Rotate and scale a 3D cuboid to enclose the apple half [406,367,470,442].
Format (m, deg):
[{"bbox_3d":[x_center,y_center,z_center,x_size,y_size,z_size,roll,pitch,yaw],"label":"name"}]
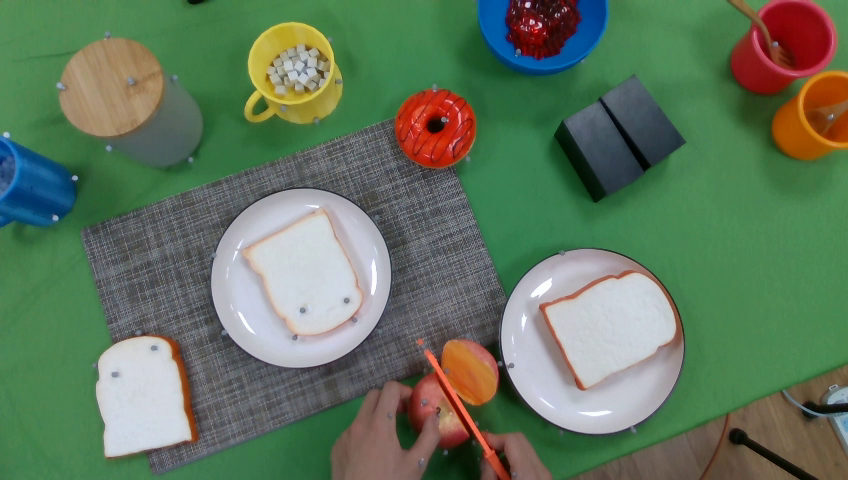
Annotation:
[{"bbox_3d":[0.009,0.186,0.667,0.053,0.075,0.080,-32,86,1],"label":"apple half"}]

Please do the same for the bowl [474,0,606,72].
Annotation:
[{"bbox_3d":[0.133,-0.264,0.727,0.151,0.077,0.151,0,82,0],"label":"bowl"}]

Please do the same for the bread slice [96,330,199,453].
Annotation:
[{"bbox_3d":[-0.323,0.170,0.694,0.105,0.019,0.131,-13,83,-2],"label":"bread slice"}]

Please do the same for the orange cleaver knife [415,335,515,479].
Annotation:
[{"bbox_3d":[0.050,0.195,0.662,0.012,0.077,0.211,-32,91,-8],"label":"orange cleaver knife"}]

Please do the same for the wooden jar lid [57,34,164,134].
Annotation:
[{"bbox_3d":[-0.321,-0.159,0.627,0.108,0.021,0.108,0,80,1],"label":"wooden jar lid"}]

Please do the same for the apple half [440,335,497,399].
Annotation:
[{"bbox_3d":[0.055,0.140,0.686,0.033,0.081,0.081,-33,81,-40],"label":"apple half"}]

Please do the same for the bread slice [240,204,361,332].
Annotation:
[{"bbox_3d":[-0.134,0.038,0.703,0.107,0.018,0.134,-32,82,-4],"label":"bread slice"}]

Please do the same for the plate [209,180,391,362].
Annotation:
[{"bbox_3d":[-0.141,0.035,0.702,0.208,0.039,0.207,0,82,0],"label":"plate"}]

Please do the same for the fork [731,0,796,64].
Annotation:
[{"bbox_3d":[0.376,-0.249,0.688,0.209,0.018,0.028,17,78,-39],"label":"fork"}]

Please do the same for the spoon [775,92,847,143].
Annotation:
[{"bbox_3d":[0.493,-0.170,0.677,0.022,0.194,0.041,-18,77,-48],"label":"spoon"}]

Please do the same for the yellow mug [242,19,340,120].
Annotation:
[{"bbox_3d":[-0.166,-0.192,0.724,0.131,0.064,0.099,-44,84,-5],"label":"yellow mug"}]

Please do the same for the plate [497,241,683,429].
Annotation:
[{"bbox_3d":[0.186,0.107,0.695,0.209,0.038,0.208,0,82,1],"label":"plate"}]

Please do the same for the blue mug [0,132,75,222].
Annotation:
[{"bbox_3d":[-0.478,-0.058,0.686,0.082,0.106,0.116,43,84,6],"label":"blue mug"}]

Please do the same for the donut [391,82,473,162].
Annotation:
[{"bbox_3d":[0.010,-0.140,0.723,0.099,0.048,0.098,0,83,0],"label":"donut"}]

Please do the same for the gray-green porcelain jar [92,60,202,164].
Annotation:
[{"bbox_3d":[-0.320,-0.149,0.688,0.106,0.127,0.105,0,81,0],"label":"gray-green porcelain jar"}]
